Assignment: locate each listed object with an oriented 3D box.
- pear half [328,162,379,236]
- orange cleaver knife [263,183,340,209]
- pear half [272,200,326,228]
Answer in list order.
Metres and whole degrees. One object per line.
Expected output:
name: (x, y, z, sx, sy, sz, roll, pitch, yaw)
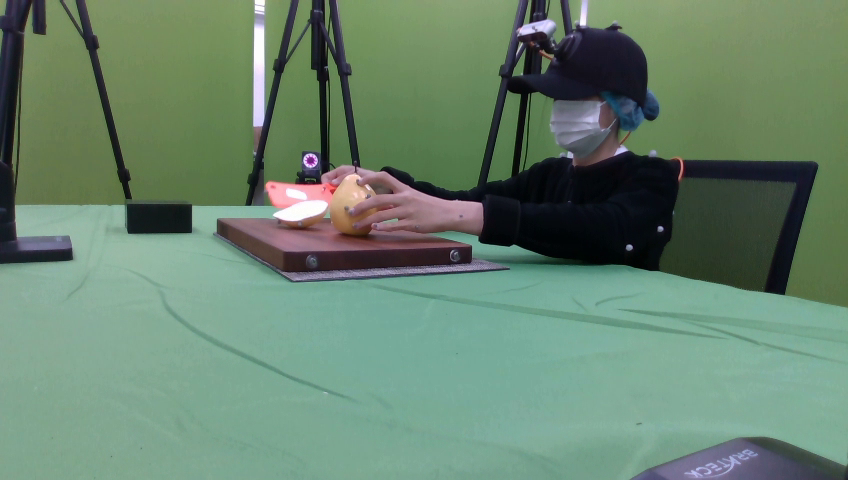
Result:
pear half: (-0.098, -0.060, 0.889, 0.077, 0.110, 0.055, -10, 13, -42)
orange cleaver knife: (-0.192, -0.080, 1.080, 0.212, 0.012, 0.077, -8, 47, -48)
pear half: (-0.196, -0.036, 0.961, 0.088, 0.031, 0.070, -12, 21, 9)
